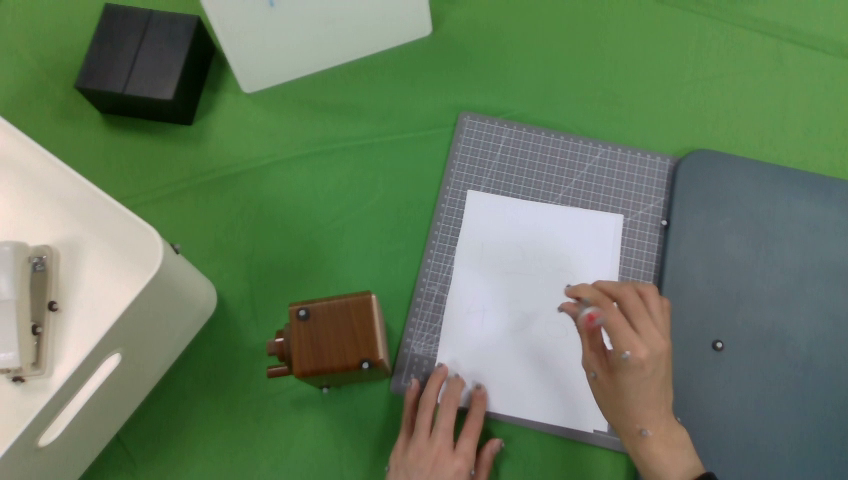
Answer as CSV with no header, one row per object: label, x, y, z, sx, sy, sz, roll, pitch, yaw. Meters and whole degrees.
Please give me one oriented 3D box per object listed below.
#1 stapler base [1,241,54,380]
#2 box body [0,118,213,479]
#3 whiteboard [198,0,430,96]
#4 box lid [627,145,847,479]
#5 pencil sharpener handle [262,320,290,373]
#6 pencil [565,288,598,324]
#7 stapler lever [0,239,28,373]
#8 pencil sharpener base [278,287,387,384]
stapler base,-0.370,0.062,0.558,0.041,0.024,0.130,-7,75,-1
box body,-0.396,0.027,0.502,0.363,0.161,0.253,33,76,9
whiteboard,-0.134,-0.330,0.573,0.217,0.308,0.142,-20,54,-6
box lid,0.342,0.094,0.570,0.263,0.015,0.369,13,73,2
pencil sharpener handle,-0.125,0.093,0.501,0.031,0.068,0.035,-9,56,-2
pencil,0.115,0.046,0.456,0.012,0.194,0.012,0,90,9
stapler lever,-0.369,0.056,0.533,0.027,0.040,0.117,-7,76,-1
pencil sharpener base,-0.075,0.085,0.517,0.077,0.107,0.061,-9,73,-3
